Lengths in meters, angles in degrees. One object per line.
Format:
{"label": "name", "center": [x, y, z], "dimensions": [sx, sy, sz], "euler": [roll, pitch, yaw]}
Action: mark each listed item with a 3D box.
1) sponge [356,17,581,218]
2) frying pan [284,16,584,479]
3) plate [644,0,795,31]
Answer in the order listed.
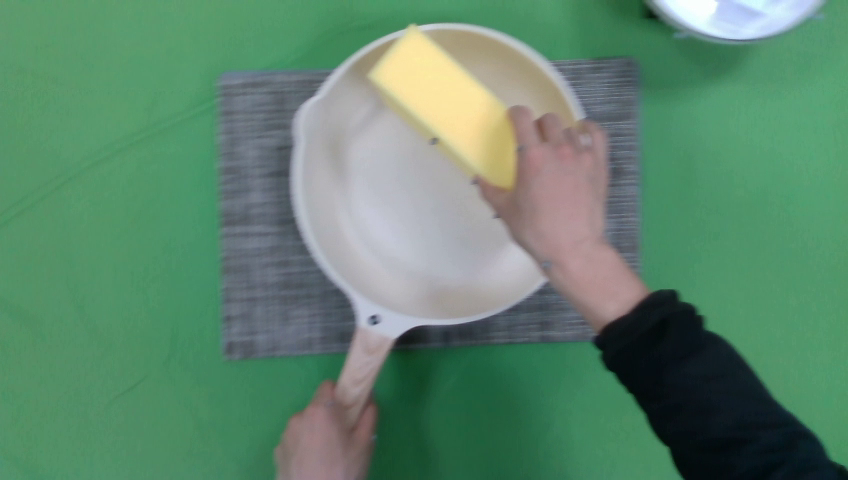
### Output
{"label": "sponge", "center": [0.039, -0.109, 0.584], "dimensions": [0.207, 0.118, 0.061], "euler": [37, 90, 2]}
{"label": "frying pan", "center": [-0.028, 0.024, 0.601], "dimensions": [0.307, 0.103, 0.486], "euler": [22, 82, 0]}
{"label": "plate", "center": [0.283, -0.304, 0.591], "dimensions": [0.208, 0.039, 0.207], "euler": [0, 90, -2]}
